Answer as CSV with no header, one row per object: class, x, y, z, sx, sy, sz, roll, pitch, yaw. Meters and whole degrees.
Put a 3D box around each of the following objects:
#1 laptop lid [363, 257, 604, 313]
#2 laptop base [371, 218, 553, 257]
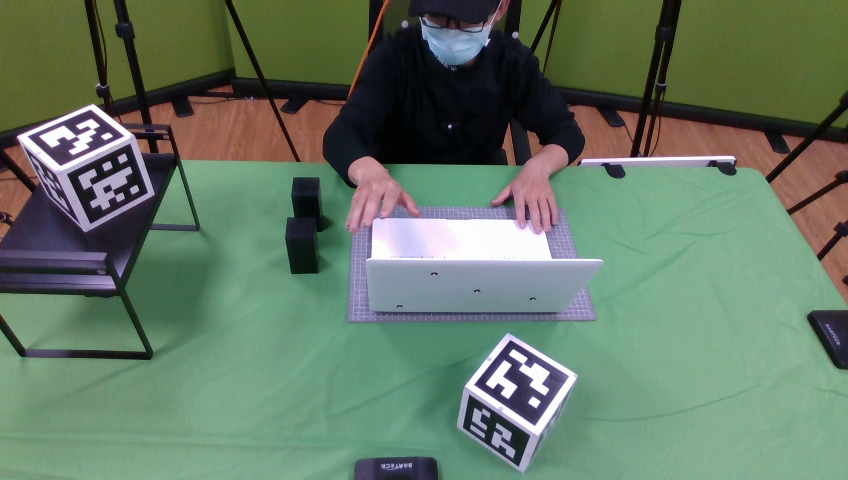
laptop lid,0.084,0.077,0.972,0.357,0.242,0.013,1,65,-5
laptop base,0.074,0.044,1.159,0.354,0.023,0.234,0,43,-3
